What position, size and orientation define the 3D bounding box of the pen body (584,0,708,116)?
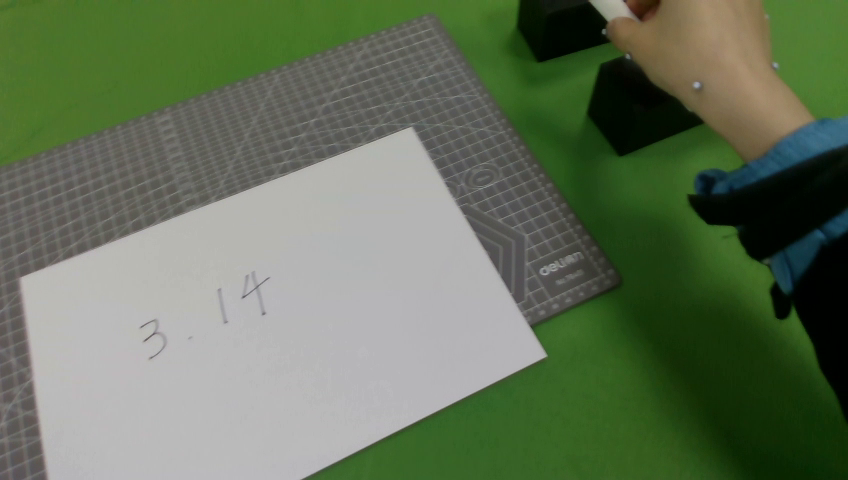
[{"bbox_3d":[0.140,-0.143,0.414,0.017,0.017,0.143,-36,83,-16],"label":"pen body"}]
